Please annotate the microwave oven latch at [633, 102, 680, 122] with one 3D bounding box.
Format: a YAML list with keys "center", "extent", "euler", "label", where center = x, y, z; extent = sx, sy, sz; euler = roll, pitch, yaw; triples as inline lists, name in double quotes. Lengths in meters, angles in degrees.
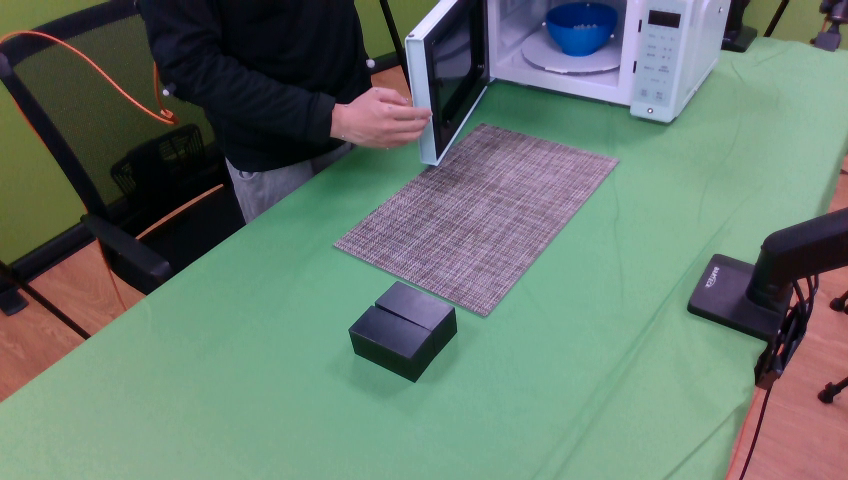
- center: [0.444, -0.249, 1.157]
  extent: [0.078, 0.029, 0.030]
  euler: [21, 49, 30]
  label: "microwave oven latch"

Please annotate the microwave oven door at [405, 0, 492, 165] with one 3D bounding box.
- center: [0.058, -0.342, 1.165]
  extent: [0.039, 0.245, 0.355]
  euler: [10, 43, 20]
  label: "microwave oven door"

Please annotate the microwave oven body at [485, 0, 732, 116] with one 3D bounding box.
- center: [0.377, -0.462, 1.267]
  extent: [0.438, 0.261, 0.327]
  euler: [21, 48, 30]
  label: "microwave oven body"
